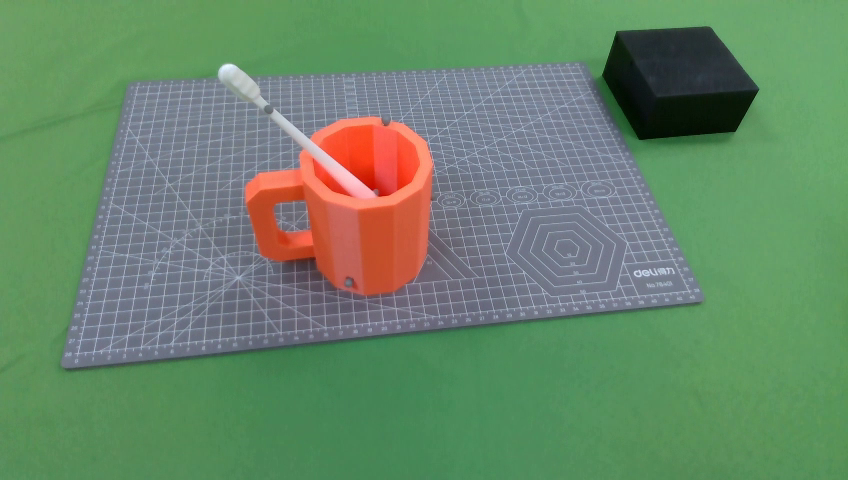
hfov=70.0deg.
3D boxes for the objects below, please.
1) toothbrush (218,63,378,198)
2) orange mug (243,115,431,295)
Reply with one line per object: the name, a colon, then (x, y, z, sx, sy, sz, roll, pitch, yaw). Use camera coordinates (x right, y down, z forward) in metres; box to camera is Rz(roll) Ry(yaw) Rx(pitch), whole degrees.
toothbrush: (-0.059, -0.048, 0.394, 0.016, 0.184, 0.014, 15, 69, 47)
orange mug: (-0.058, -0.021, 0.423, 0.126, 0.101, 0.082, -6, 52, -14)
